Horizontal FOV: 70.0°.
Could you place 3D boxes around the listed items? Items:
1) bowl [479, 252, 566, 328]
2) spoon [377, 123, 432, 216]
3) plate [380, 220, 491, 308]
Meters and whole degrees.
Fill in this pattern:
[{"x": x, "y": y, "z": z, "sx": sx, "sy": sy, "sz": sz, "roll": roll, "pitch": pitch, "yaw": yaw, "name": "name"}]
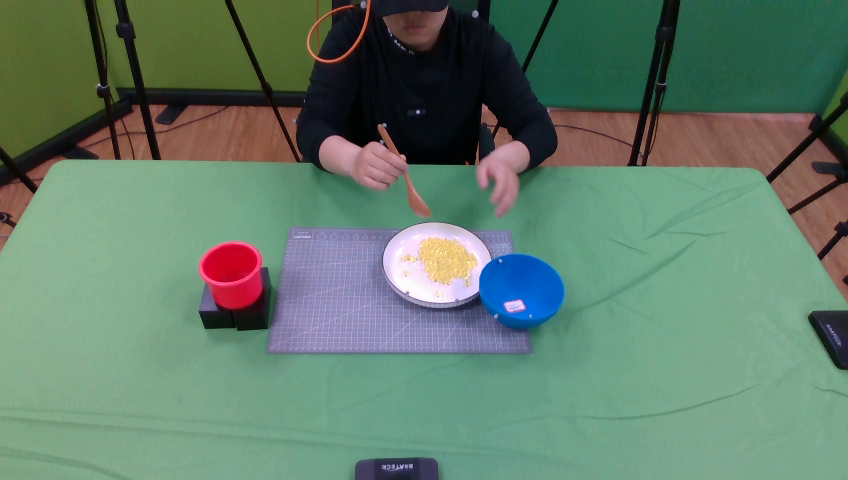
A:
[{"x": 0.167, "y": 0.102, "z": 1.067, "sx": 0.151, "sy": 0.077, "sz": 0.150, "roll": 2, "pitch": 46, "yaw": -2, "name": "bowl"}, {"x": -0.036, "y": -0.118, "z": 1.047, "sx": 0.041, "sy": 0.194, "sz": 0.021, "roll": 2, "pitch": 36, "yaw": 45, "name": "spoon"}, {"x": 0.022, "y": 0.048, "z": 1.137, "sx": 0.208, "sy": 0.039, "sz": 0.206, "roll": 2, "pitch": 46, "yaw": -2, "name": "plate"}]
